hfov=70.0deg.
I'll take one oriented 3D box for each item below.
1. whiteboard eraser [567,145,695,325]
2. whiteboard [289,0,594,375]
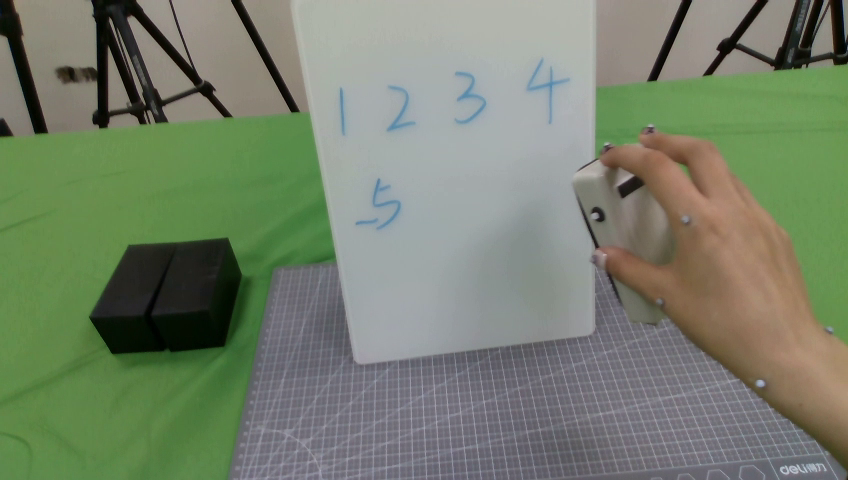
[{"bbox_3d":[0.138,-0.003,0.408,0.055,0.113,0.041,-32,13,-26],"label":"whiteboard eraser"},{"bbox_3d":[0.024,-0.061,0.541,0.217,0.307,0.143,-7,21,-1],"label":"whiteboard"}]
